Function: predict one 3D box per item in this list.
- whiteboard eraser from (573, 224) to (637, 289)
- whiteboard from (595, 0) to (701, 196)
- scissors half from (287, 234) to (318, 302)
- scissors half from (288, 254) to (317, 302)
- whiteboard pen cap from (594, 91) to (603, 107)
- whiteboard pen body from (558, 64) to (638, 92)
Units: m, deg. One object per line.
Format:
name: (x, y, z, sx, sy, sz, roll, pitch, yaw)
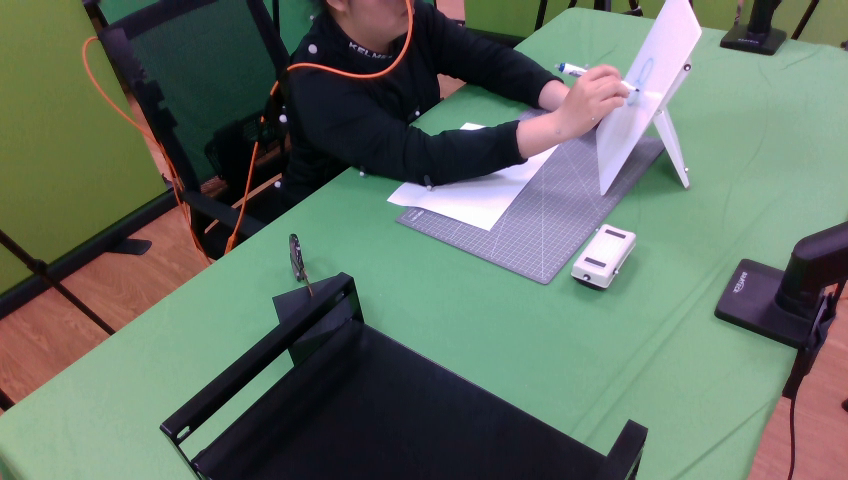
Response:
whiteboard eraser: (0.267, 0.025, 0.891, 0.055, 0.042, 0.113, 19, 47, 31)
whiteboard: (0.421, -0.227, 1.010, 0.144, 0.305, 0.216, 18, 42, -2)
scissors half: (-0.178, 0.040, 0.885, 0.013, 0.040, 0.173, -11, 37, -21)
scissors half: (-0.178, 0.058, 0.894, 0.013, 0.040, 0.174, -16, 21, -18)
whiteboard pen cap: (0.364, -0.294, 1.262, 0.018, 0.033, 0.018, -5, 41, 5)
whiteboard pen body: (0.289, -0.264, 0.996, 0.141, 0.017, 0.017, 14, 41, -7)
